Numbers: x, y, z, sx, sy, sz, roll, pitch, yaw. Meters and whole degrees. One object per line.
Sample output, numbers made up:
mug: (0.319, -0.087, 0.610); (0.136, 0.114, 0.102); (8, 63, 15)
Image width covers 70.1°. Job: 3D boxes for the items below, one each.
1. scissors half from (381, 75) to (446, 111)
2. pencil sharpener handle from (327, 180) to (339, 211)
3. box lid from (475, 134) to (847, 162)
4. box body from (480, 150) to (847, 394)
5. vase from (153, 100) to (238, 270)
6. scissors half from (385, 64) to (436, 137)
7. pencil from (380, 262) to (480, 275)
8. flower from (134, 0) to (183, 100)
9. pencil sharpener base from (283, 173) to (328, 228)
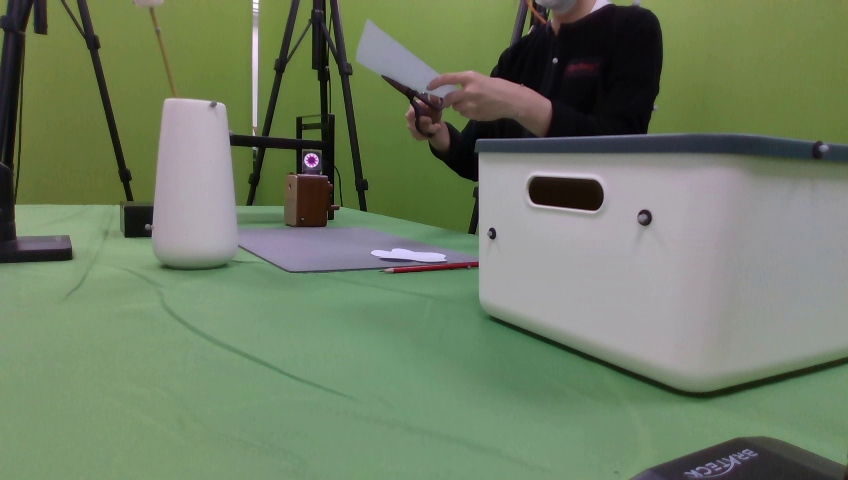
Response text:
scissors half: (-0.016, -0.267, 1.075); (0.013, 0.040, 0.176); (7, 1, 39)
pencil sharpener handle: (-0.194, -0.094, 1.256); (0.031, 0.067, 0.036); (-2, -5, -36)
box lid: (0.256, -0.073, 0.528); (0.373, 0.015, 0.262); (-2, 8, -31)
box body: (0.254, 0.002, 0.539); (0.366, 0.160, 0.253); (-2, 8, -31)
vase: (-0.278, -0.066, 0.736); (0.098, 0.200, 0.098); (2, 9, 0)
scissors half: (-0.024, -0.245, 1.071); (0.012, 0.040, 0.176); (13, -29, 40)
pencil: (0.030, 0.037, 0.794); (0.195, 0.012, 0.012); (-3, 9, -30)
flower: (-0.282, -0.147, 0.713); (0.038, 0.362, 0.044); (-23, 24, -31)
pencil sharpener base: (-0.239, -0.081, 1.231); (0.077, 0.107, 0.061); (-2, 8, -36)
